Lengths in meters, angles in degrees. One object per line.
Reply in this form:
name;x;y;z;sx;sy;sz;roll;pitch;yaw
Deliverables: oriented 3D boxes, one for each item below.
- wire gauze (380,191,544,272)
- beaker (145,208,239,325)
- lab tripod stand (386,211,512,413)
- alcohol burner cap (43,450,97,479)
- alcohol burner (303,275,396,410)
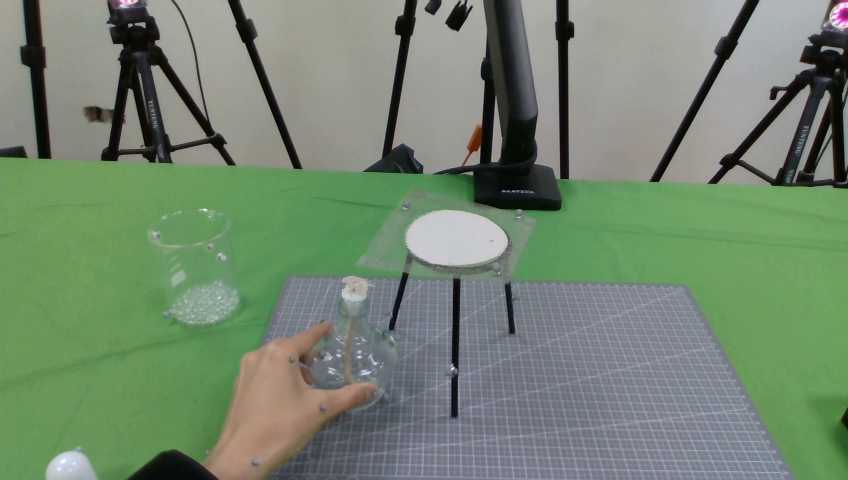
wire gauze;0.029;-0.013;0.488;0.125;0.011;0.120;7;27;-5
beaker;-0.227;0.027;0.608;0.074;0.101;0.083;8;33;10
lab tripod stand;0.027;0.055;0.538;0.148;0.132;0.147;2;34;-1
alcohol burner cap;-0.254;0.172;0.433;0.034;0.048;0.033;2;32;-1
alcohol burner;-0.061;0.081;0.502;0.078;0.120;0.077;6;27;-2
